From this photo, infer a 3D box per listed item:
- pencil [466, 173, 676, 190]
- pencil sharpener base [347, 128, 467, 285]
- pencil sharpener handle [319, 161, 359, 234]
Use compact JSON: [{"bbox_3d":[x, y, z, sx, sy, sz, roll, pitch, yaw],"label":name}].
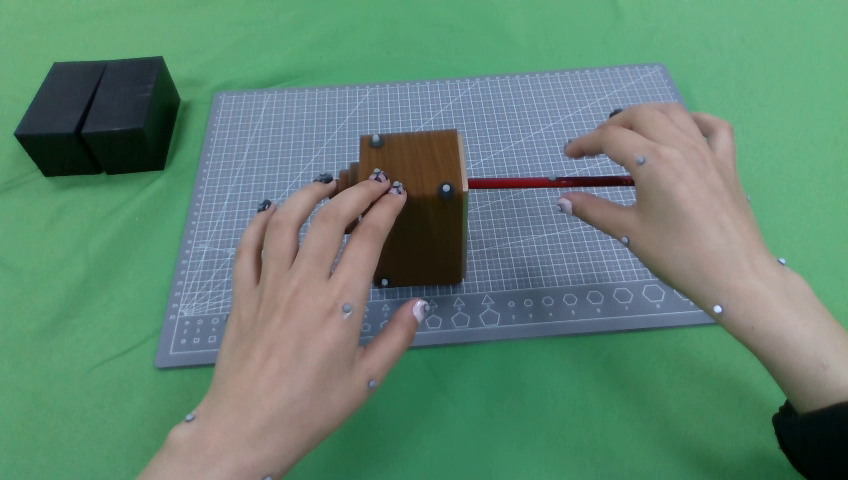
[{"bbox_3d":[0.075,-0.038,0.411,0.194,0.012,0.012,-1,52,-2],"label":"pencil"},{"bbox_3d":[-0.010,-0.020,0.430,0.077,0.108,0.061,-3,52,0],"label":"pencil sharpener base"},{"bbox_3d":[-0.062,-0.025,0.421,0.030,0.068,0.035,-3,55,0],"label":"pencil sharpener handle"}]
